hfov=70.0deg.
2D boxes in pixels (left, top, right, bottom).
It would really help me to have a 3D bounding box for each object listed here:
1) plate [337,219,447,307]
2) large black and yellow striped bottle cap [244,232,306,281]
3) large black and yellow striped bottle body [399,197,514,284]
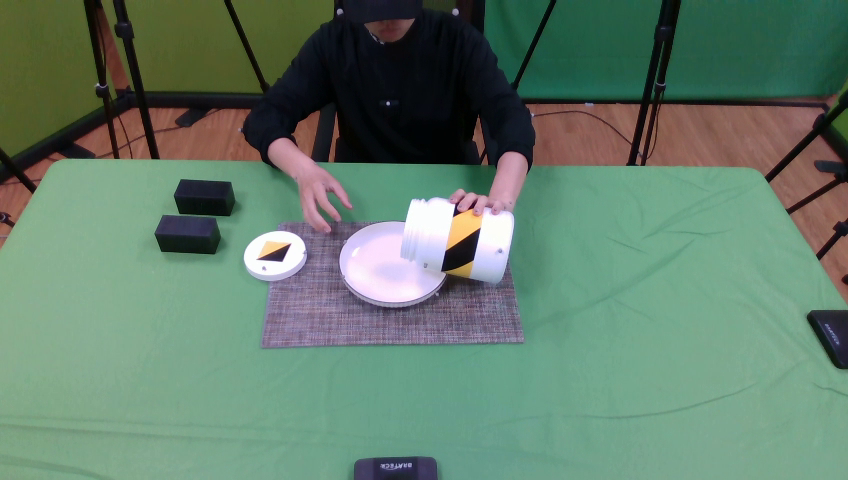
[{"bbox_3d":[-0.057,0.045,1.133,0.208,0.039,0.206,2,46,-2],"label":"plate"},{"bbox_3d":[-0.282,0.030,1.145,0.115,0.019,0.114,-1,45,1],"label":"large black and yellow striped bottle cap"},{"bbox_3d":[0.057,-0.003,1.067,0.184,0.131,0.130,12,46,3],"label":"large black and yellow striped bottle body"}]
